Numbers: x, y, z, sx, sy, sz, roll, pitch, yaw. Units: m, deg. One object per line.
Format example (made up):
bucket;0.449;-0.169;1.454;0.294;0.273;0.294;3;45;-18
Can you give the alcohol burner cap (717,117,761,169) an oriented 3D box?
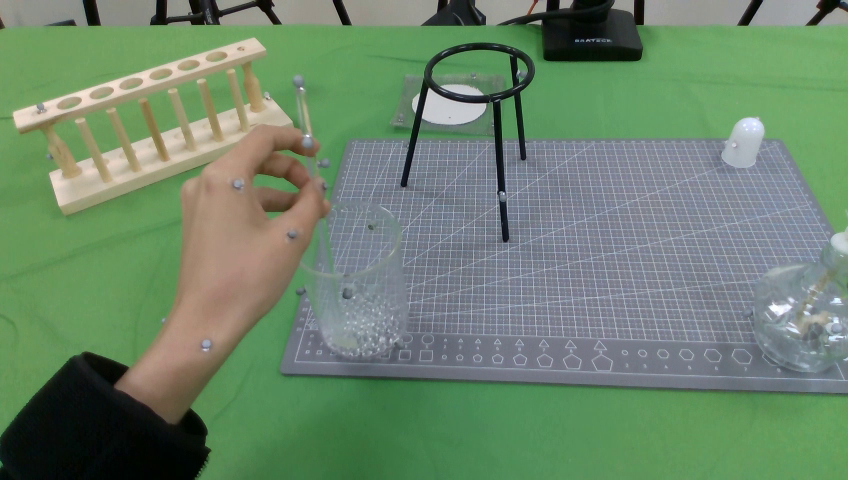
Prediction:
alcohol burner cap;0.306;-0.096;0.585;0.034;0.048;0.033;-2;44;2

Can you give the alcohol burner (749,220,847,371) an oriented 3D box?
alcohol burner;0.266;0.033;0.405;0.078;0.120;0.077;-2;43;2

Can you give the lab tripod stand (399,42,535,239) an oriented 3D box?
lab tripod stand;0.043;-0.092;0.533;0.148;0.133;0.147;-3;46;3

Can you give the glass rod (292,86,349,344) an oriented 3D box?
glass rod;-0.064;-0.003;0.392;0.008;0.201;0.008;-2;37;2

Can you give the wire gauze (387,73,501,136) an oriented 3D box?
wire gauze;0.026;-0.160;0.699;0.125;0.011;0.120;3;44;9

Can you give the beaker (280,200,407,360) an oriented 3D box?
beaker;-0.053;0.033;0.438;0.084;0.101;0.073;-1;44;4

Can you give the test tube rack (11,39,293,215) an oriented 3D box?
test tube rack;-0.267;-0.120;0.621;0.242;0.086;0.066;-26;49;-21
